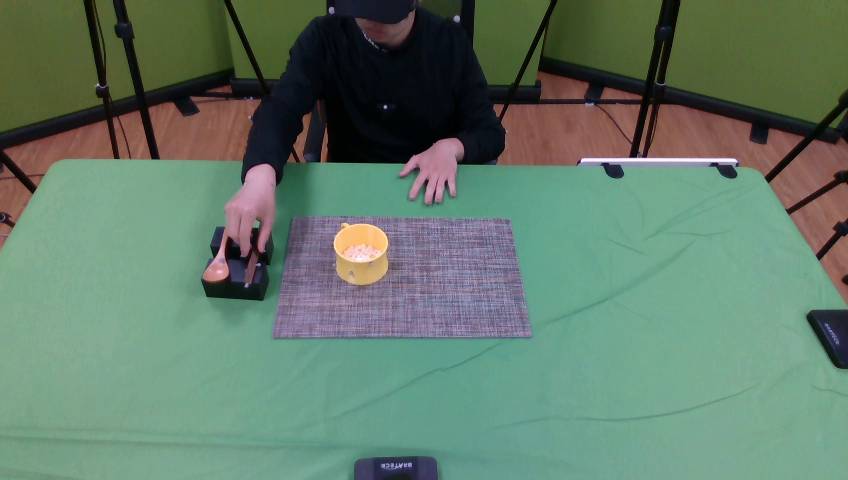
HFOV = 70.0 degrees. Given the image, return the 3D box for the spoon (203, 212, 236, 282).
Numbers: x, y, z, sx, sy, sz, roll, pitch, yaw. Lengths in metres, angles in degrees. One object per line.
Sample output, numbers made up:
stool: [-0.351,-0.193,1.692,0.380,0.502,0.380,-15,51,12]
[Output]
spoon: [-0.361,0.009,1.097,0.041,0.022,0.192,0,44,-3]

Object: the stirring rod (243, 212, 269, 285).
stirring rod: [-0.304,0.012,1.100,0.014,0.006,0.175,31,38,-28]

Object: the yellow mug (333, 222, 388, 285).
yellow mug: [-0.126,0.016,1.139,0.100,0.064,0.130,-24,51,-24]
